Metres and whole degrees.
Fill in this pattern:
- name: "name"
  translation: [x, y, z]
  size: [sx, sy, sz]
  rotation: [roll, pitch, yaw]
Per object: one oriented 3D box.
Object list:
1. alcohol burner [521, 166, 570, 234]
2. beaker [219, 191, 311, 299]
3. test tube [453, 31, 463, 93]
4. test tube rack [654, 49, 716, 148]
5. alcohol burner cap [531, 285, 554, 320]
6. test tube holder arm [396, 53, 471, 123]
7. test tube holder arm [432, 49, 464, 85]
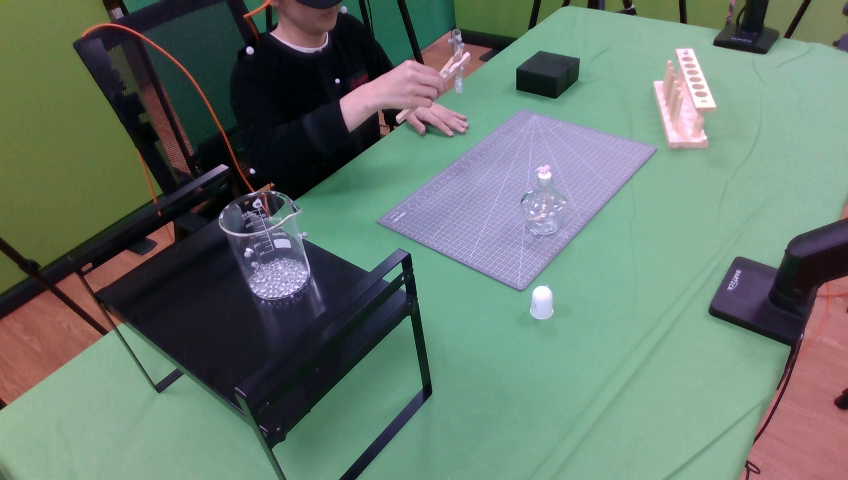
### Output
- name: "alcohol burner"
  translation: [0.192, -0.068, 0.951]
  size: [0.078, 0.119, 0.077]
  rotation: [-4, 42, 4]
- name: "beaker"
  translation: [-0.164, 0.008, 0.654]
  size: [0.084, 0.101, 0.073]
  rotation: [-10, 41, -3]
- name: "test tube"
  translation: [0.060, -0.308, 1.062]
  size: [0.017, 0.151, 0.017]
  rotation: [-1, 66, 4]
- name: "test tube rack"
  translation: [0.502, -0.281, 1.176]
  size: [0.066, 0.085, 0.241]
  rotation: [2, 41, 11]
- name: "alcohol burner cap"
  translation: [0.164, 0.084, 0.838]
  size: [0.034, 0.048, 0.033]
  rotation: [-4, 40, 4]
- name: "test tube holder arm"
  translation: [0.018, -0.261, 1.036]
  size: [0.013, 0.015, 0.178]
  rotation: [39, 74, 20]
- name: "test tube holder arm"
  translation: [0.042, -0.297, 1.050]
  size: [0.010, 0.015, 0.088]
  rotation: [30, 71, 17]
